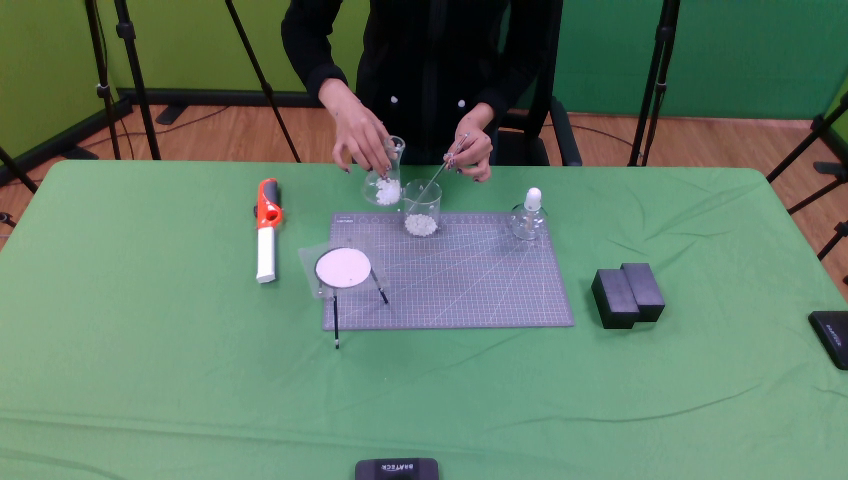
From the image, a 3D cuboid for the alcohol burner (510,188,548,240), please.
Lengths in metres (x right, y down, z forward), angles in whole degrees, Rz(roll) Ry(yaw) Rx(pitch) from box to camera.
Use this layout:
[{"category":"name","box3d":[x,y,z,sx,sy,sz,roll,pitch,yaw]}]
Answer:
[{"category":"alcohol burner","box3d":[0.211,-0.057,1.204,0.078,0.120,0.077,1,47,-1]}]

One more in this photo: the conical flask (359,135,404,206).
[{"category":"conical flask","box3d":[-0.067,-0.125,1.069,0.075,0.122,0.075,11,43,-10]}]

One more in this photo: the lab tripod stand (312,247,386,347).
[{"category":"lab tripod stand","box3d":[-0.134,0.085,1.028,0.148,0.132,0.147,2,45,-1]}]

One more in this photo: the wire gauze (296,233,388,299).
[{"category":"wire gauze","box3d":[-0.133,0.041,0.977,0.125,0.011,0.120,-12,47,-16]}]

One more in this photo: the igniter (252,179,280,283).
[{"category":"igniter","box3d":[-0.312,-0.027,1.197,0.057,0.025,0.274,-12,47,-2]}]

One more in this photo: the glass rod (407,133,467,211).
[{"category":"glass rod","box3d":[0.021,-0.123,1.127,0.008,0.200,0.008,27,34,-20]}]

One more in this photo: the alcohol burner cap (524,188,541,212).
[{"category":"alcohol burner cap","box3d":[0.212,-0.081,1.177,0.034,0.048,0.033,-2,54,2]}]

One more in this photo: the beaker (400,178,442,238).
[{"category":"beaker","box3d":[-0.008,-0.059,1.200,0.084,0.101,0.073,-14,48,-17]}]
